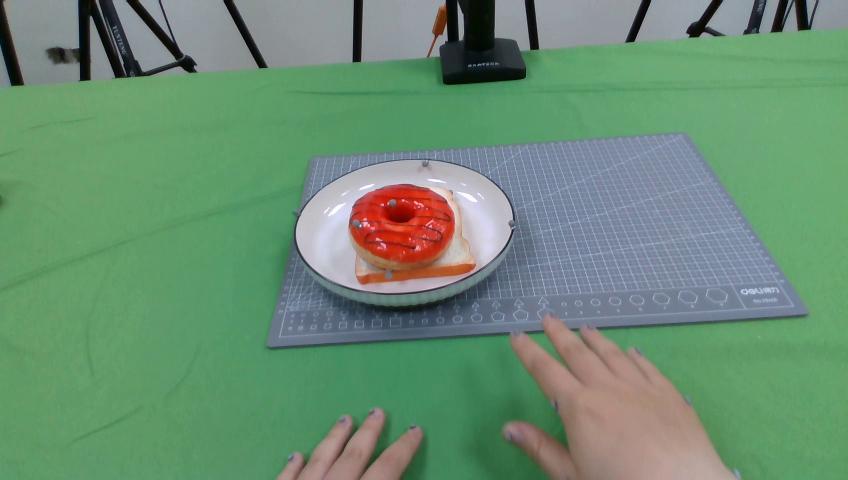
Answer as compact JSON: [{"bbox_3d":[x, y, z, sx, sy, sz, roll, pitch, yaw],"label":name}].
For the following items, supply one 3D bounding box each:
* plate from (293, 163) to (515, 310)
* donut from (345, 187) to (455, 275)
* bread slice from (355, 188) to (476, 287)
[{"bbox_3d":[-0.018,-0.004,0.580,0.209,0.038,0.207,-2,39,2],"label":"plate"},{"bbox_3d":[-0.021,-0.009,0.543,0.099,0.048,0.098,0,43,1],"label":"donut"},{"bbox_3d":[-0.016,-0.006,0.585,0.107,0.018,0.133,-7,40,-5],"label":"bread slice"}]
